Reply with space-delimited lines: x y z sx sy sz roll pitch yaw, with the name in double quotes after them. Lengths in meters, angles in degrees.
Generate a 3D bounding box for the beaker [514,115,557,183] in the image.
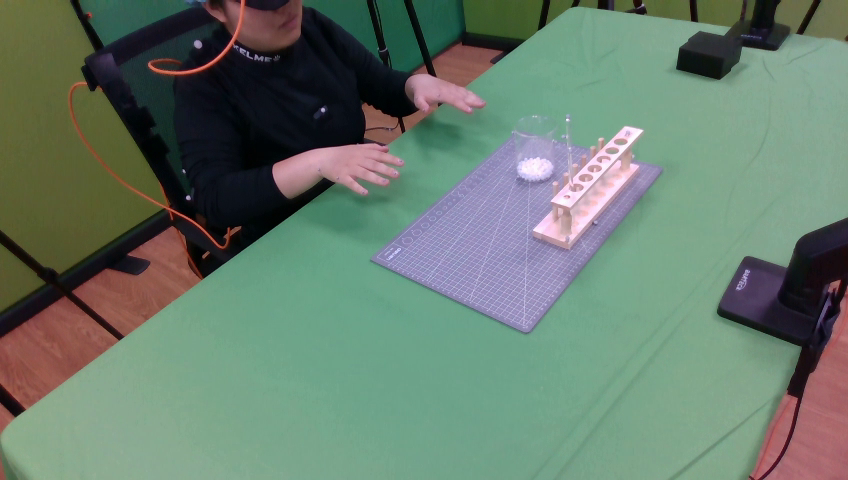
0.199 -0.161 1.071 0.073 0.101 0.084 8 42 19 "beaker"

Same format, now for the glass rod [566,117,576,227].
0.217 -0.094 0.895 0.008 0.201 0.008 -8 41 8 "glass rod"

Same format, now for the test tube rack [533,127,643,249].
0.271 -0.095 0.989 0.066 0.085 0.243 24 50 33 "test tube rack"
